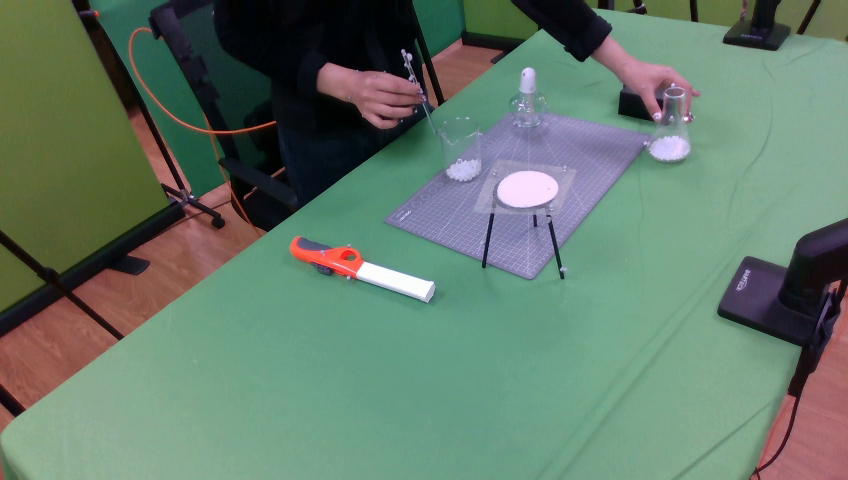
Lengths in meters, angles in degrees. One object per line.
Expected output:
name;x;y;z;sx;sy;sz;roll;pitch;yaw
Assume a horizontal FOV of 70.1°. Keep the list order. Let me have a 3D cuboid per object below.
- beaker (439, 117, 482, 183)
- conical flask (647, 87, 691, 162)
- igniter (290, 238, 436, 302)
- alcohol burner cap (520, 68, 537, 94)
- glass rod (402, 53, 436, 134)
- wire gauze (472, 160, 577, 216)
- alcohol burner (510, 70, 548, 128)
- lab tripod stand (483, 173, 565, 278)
beaker;0.068;-0.160;1.097;0.073;0.101;0.084;7;43;19
conical flask;0.431;-0.202;1.054;0.075;0.122;0.075;-7;41;7
igniter;-0.106;0.043;0.949;0.274;0.025;0.057;16;57;27
alcohol burner cap;0.205;-0.313;1.183;0.034;0.048;0.033;-3;50;5
glass rod;-0.006;-0.243;1.026;0.008;0.201;0.008;-7;60;13
wire gauze;0.143;-0.073;0.850;0.121;0.011;0.125;8;43;21
alcohol burner;0.209;-0.287;1.207;0.078;0.119;0.077;-5;42;5
lab tripod stand;0.151;-0.025;0.896;0.148;0.132;0.147;-7;40;6
